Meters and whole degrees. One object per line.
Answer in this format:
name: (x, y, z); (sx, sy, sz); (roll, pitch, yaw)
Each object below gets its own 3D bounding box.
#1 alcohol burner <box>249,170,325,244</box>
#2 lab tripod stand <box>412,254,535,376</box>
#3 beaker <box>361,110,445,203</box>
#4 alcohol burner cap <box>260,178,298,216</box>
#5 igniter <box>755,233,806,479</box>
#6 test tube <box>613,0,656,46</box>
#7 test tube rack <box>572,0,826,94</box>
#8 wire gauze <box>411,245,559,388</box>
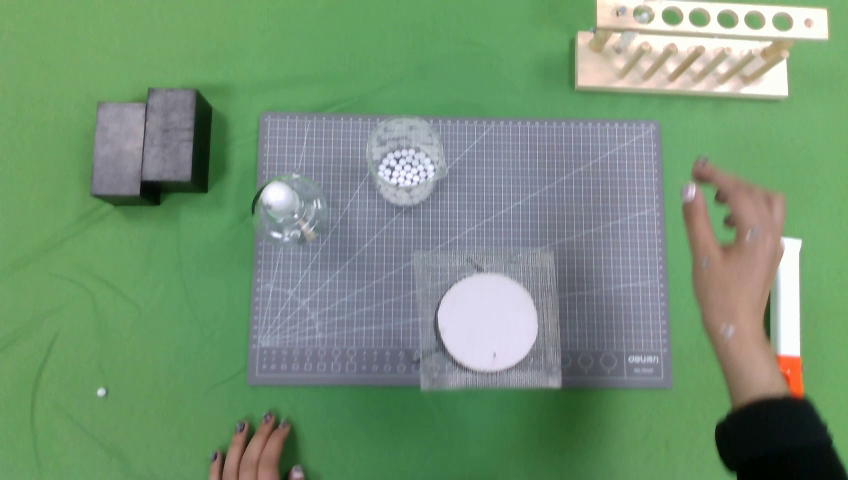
alcohol burner: (-0.140, -0.037, 0.606); (0.078, 0.119, 0.077); (0, 79, -1)
lab tripod stand: (0.049, 0.077, 0.587); (0.148, 0.132, 0.148); (0, 81, 0)
beaker: (-0.020, -0.079, 0.623); (0.084, 0.100, 0.074); (25, 82, 1)
alcohol burner cap: (-0.138, -0.042, 0.571); (0.034, 0.048, 0.034); (1, 84, -5)
igniter: (0.381, 0.130, 0.647); (0.057, 0.025, 0.275); (7, 82, -11)
test tube: (0.225, -0.242, 0.614); (0.017, 0.150, 0.017); (1, 77, -4)
test tube rack: (0.293, -0.212, 0.663); (0.242, 0.085, 0.066); (2, 81, -1)
wire gauze: (0.053, 0.064, 0.521); (0.125, 0.011, 0.121); (-1, 81, -2)
